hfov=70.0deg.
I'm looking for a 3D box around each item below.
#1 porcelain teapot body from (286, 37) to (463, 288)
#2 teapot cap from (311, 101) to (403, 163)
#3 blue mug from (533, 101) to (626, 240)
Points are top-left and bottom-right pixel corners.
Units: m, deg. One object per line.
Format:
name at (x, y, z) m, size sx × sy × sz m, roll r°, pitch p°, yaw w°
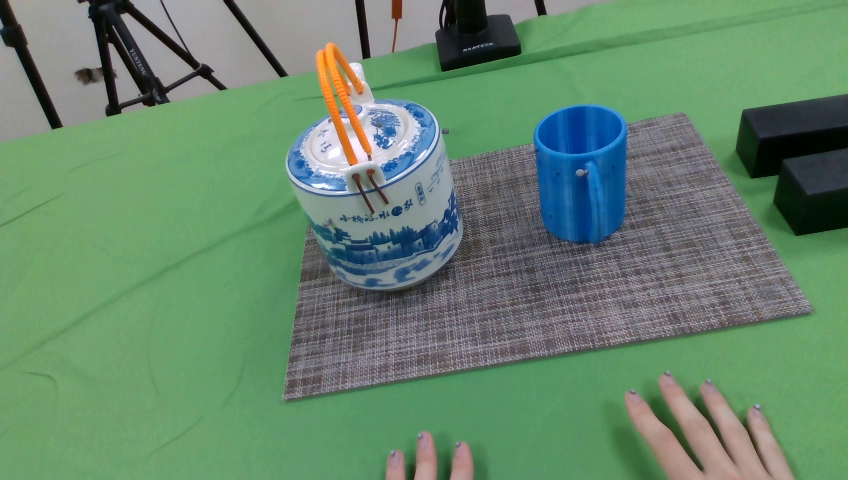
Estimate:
porcelain teapot body at (-0.055, -0.089, 0.580) m, size 0.145 × 0.228 × 0.203 m, roll -16°, pitch 43°, yaw 1°
teapot cap at (-0.060, -0.098, 0.533) m, size 0.085 × 0.044 × 0.084 m, roll -6°, pitch 42°, yaw 6°
blue mug at (0.151, -0.056, 0.570) m, size 0.082 × 0.107 × 0.115 m, roll -11°, pitch 44°, yaw 6°
